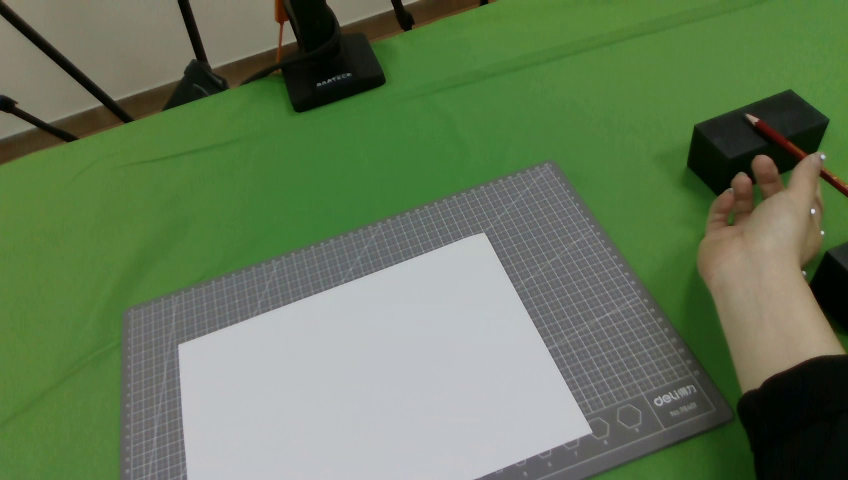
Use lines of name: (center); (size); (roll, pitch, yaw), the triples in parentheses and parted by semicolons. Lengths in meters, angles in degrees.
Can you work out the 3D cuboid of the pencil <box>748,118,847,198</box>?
pencil: (0.325, -0.046, 0.479); (0.012, 0.012, 0.192); (-23, 48, -6)
